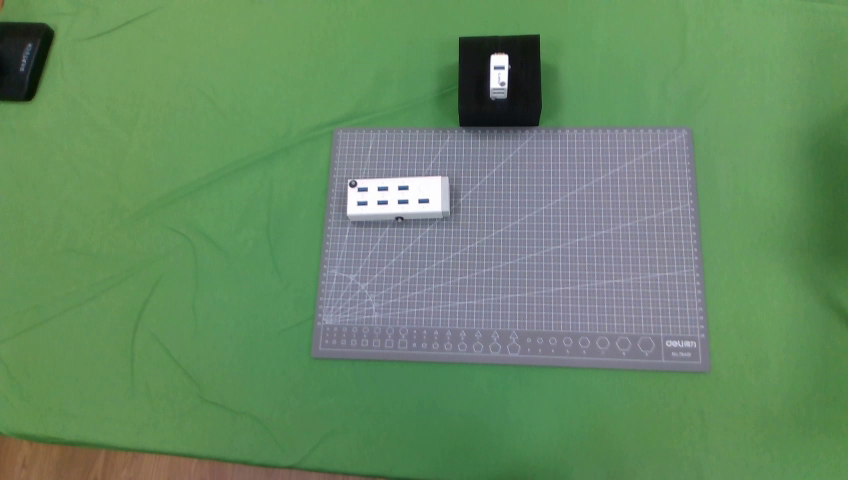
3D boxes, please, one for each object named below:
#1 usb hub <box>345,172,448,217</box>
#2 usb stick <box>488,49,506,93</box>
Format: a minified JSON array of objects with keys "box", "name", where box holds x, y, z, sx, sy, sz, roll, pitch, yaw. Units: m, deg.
[{"box":[-0.034,-0.056,0.742,0.125,0.025,0.049,-1,74,4],"name":"usb hub"},{"box":[0.087,-0.207,0.725,0.021,0.027,0.059,1,71,7],"name":"usb stick"}]
